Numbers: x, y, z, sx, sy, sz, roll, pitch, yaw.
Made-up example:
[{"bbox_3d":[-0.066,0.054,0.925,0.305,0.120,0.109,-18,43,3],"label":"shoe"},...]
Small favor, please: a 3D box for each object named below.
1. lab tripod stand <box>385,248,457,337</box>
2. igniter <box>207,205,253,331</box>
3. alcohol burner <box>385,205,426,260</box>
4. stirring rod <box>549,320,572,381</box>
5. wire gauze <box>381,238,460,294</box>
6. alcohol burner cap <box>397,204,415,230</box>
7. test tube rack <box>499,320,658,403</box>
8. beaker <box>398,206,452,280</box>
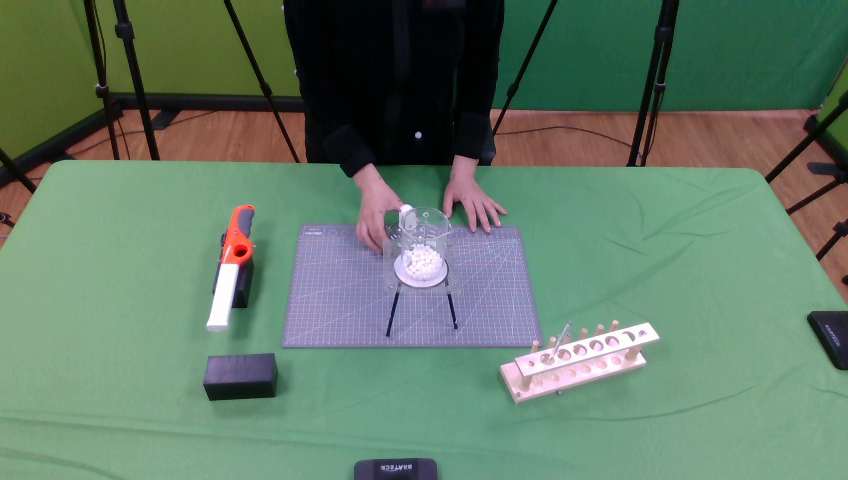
[{"bbox_3d":[-0.010,0.087,1.032,0.148,0.132,0.147,1,45,-1],"label":"lab tripod stand"},{"bbox_3d":[-0.339,0.038,1.066,0.057,0.025,0.274,2,48,-6],"label":"igniter"},{"bbox_3d":[-0.035,-0.020,1.147,0.078,0.120,0.077,1,46,-1],"label":"alcohol burner"},{"bbox_3d":[0.202,0.167,0.901,0.006,0.177,0.014,-17,54,-11],"label":"stirring rod"},{"bbox_3d":[-0.008,0.042,0.985,0.125,0.011,0.120,-1,43,-2],"label":"wire gauze"},{"bbox_3d":[-0.034,-0.044,1.121,0.034,0.048,0.033,-1,44,2],"label":"alcohol burner cap"},{"bbox_3d":[0.252,0.187,0.994,0.243,0.085,0.066,-12,48,-15],"label":"test tube rack"},{"bbox_3d":[0.000,0.008,0.950,0.084,0.101,0.073,10,45,6],"label":"beaker"}]
